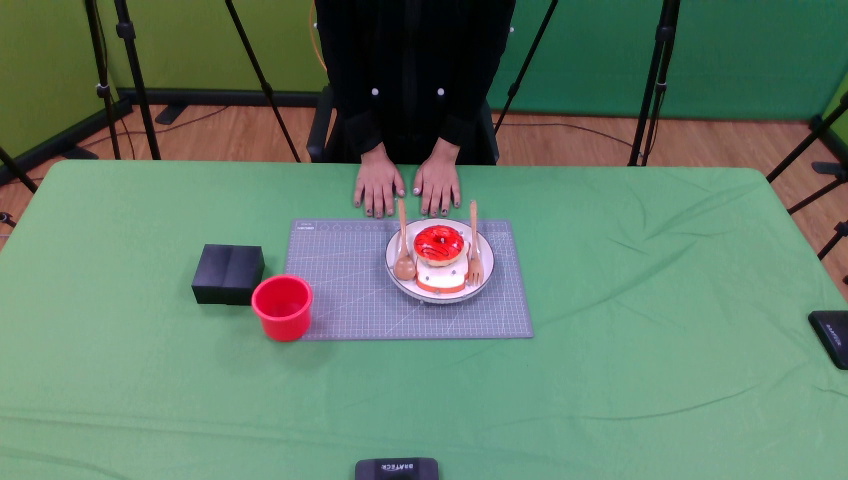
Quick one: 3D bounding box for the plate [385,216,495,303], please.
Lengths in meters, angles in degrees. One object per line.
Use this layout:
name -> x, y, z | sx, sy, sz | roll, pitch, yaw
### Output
plate -> 0.030, 0.040, 1.145 | 0.209, 0.038, 0.208 | 2, 46, -2

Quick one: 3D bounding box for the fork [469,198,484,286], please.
fork -> 0.099, 0.000, 1.172 | 0.028, 0.019, 0.206 | -6, 57, 11

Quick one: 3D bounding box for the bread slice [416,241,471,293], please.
bread slice -> 0.037, 0.046, 1.144 | 0.105, 0.019, 0.131 | 4, 45, 2

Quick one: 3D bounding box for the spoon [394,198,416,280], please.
spoon -> -0.039, -0.006, 1.166 | 0.042, 0.022, 0.192 | 2, 59, -8

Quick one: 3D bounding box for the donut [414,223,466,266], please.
donut -> 0.030, 0.007, 1.140 | 0.099, 0.048, 0.098 | 0, 42, 0
